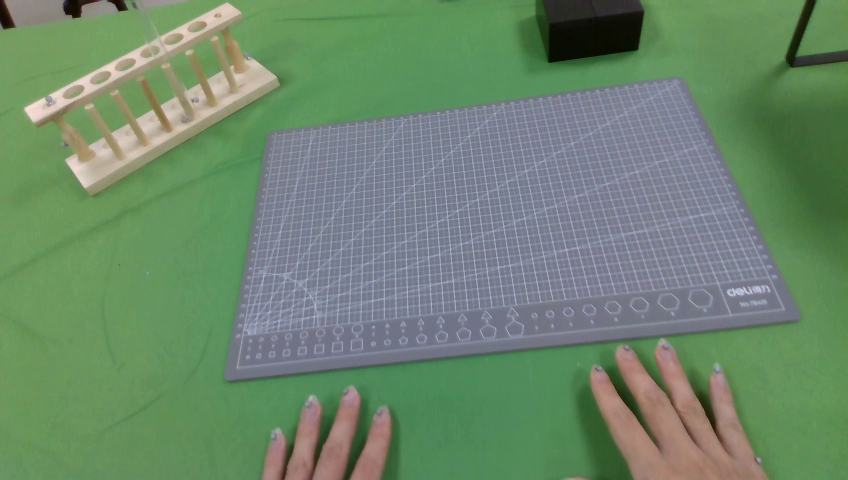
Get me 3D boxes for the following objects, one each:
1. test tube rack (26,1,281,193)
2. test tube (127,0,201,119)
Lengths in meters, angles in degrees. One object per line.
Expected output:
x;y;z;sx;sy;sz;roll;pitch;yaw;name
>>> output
-0.288;-0.162;0.670;0.242;0.086;0.066;-37;55;-19;test tube rack
-0.269;-0.189;0.630;0.017;0.152;0.017;-4;50;5;test tube
